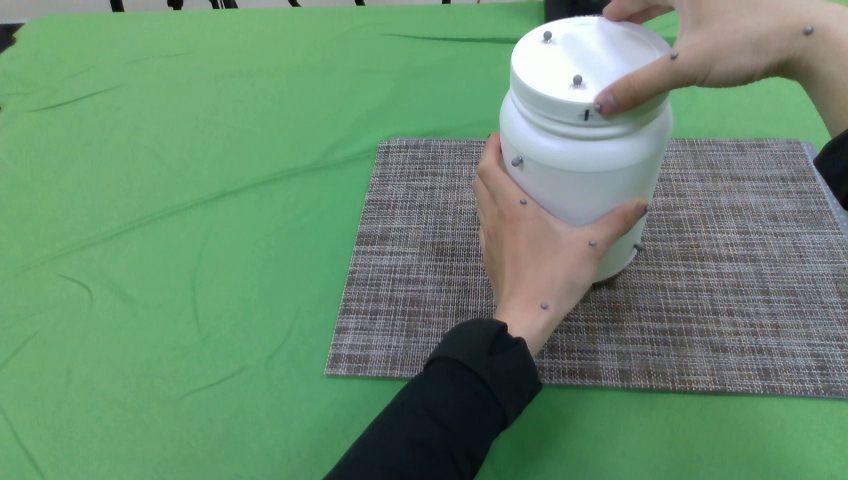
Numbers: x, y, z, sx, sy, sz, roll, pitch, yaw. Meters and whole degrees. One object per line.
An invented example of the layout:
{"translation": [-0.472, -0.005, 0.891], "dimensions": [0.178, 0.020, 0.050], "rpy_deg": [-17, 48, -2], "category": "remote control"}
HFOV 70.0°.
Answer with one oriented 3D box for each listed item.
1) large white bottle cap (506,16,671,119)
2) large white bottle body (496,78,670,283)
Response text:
{"translation": [0.117, -0.127, 0.436], "dimensions": [0.115, 0.018, 0.113], "rpy_deg": [-3, 47, 3], "category": "large white bottle cap"}
{"translation": [0.125, -0.067, 0.502], "dimensions": [0.130, 0.186, 0.129], "rpy_deg": [-3, 49, 3], "category": "large white bottle body"}
